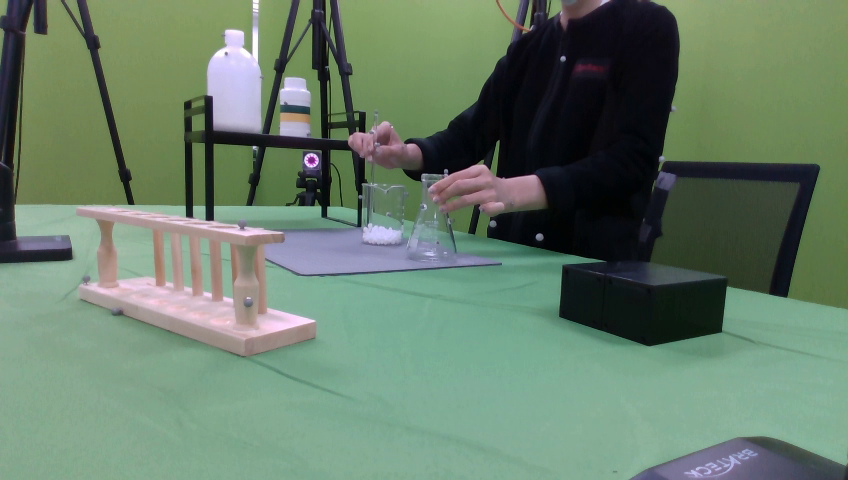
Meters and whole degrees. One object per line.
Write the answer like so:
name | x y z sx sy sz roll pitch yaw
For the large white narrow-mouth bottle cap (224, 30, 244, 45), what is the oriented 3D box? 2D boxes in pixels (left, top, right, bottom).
large white narrow-mouth bottle cap | -0.365 -0.389 1.166 0.038 0.024 0.037 2 9 0

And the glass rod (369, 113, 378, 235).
glass rod | -0.083 -0.106 0.986 0.008 0.199 0.008 4 11 0

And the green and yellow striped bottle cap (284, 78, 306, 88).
green and yellow striped bottle cap | -0.268 -0.325 1.259 0.045 0.020 0.045 5 7 0

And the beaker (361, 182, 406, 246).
beaker | -0.067 -0.042 0.993 0.074 0.100 0.084 1 8 -8

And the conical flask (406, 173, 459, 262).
conical flask | 0.013 -0.033 0.851 0.075 0.122 0.075 2 7 0

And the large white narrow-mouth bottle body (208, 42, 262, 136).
large white narrow-mouth bottle body | -0.368 -0.304 1.181 0.102 0.194 0.101 2 9 0

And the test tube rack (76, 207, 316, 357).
test tube rack | -0.196 0.023 0.500 0.241 0.085 0.067 8 9 36

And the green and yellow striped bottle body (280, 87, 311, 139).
green and yellow striped bottle body | -0.269 -0.274 1.266 0.063 0.119 0.063 3 7 0
